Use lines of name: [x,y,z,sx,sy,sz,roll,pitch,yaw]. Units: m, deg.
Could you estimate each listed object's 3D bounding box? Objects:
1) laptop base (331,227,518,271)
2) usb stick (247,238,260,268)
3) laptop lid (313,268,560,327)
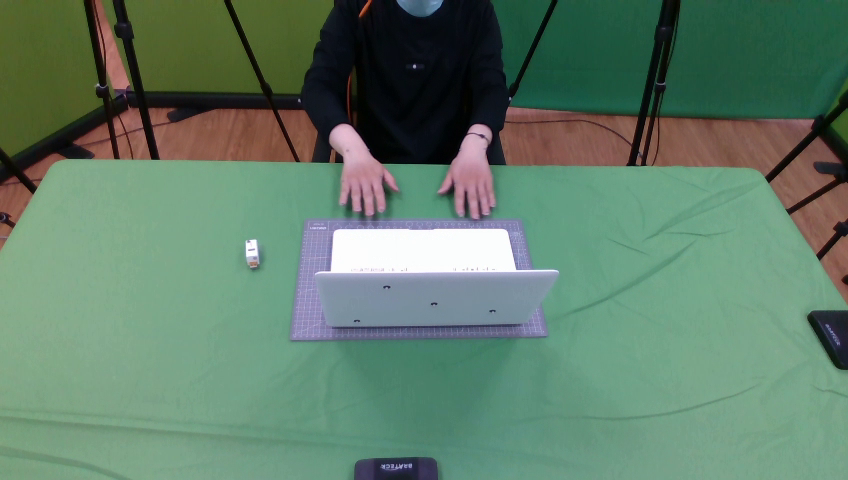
laptop base: [0.003,0.062,1.135,0.355,0.023,0.234,0,43,-4]
usb stick: [-0.322,0.026,1.144,0.021,0.027,0.059,-7,50,-12]
laptop lid: [0.015,0.095,0.949,0.357,0.242,0.013,0,64,-5]
